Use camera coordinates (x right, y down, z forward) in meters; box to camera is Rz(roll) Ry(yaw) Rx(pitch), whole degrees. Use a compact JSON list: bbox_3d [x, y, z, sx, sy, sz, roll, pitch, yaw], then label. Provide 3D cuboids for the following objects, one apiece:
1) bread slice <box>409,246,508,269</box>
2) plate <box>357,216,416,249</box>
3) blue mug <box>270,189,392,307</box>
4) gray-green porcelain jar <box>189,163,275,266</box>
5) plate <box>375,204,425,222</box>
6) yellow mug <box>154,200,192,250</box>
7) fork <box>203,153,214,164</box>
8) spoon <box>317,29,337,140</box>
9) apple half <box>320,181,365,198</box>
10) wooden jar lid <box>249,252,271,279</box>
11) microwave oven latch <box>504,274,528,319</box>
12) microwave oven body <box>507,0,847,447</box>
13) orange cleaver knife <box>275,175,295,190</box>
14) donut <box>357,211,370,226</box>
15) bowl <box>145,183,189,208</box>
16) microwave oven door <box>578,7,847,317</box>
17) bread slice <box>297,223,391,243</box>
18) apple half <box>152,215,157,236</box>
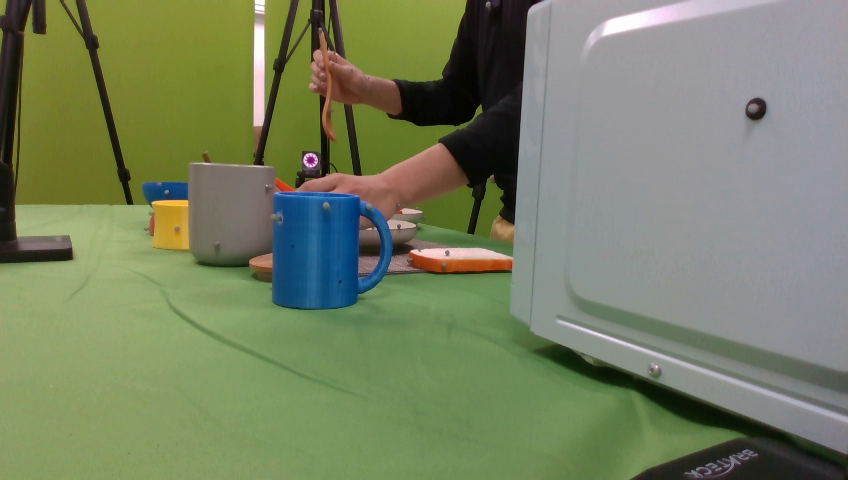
[{"bbox_3d":[0.047,0.022,0.816,0.132,0.019,0.104,0,7,-24],"label":"bread slice"},{"bbox_3d":[-0.116,-0.014,0.967,0.208,0.039,0.207,2,7,0],"label":"plate"},{"bbox_3d":[-0.090,0.005,0.588,0.117,0.106,0.082,1,7,-11],"label":"blue mug"},{"bbox_3d":[-0.246,-0.035,0.780,0.106,0.126,0.106,2,7,0],"label":"gray-green porcelain jar"},{"bbox_3d":[-0.102,-0.053,1.299,0.209,0.038,0.209,2,8,0],"label":"plate"},{"bbox_3d":[-0.337,-0.023,0.899,0.130,0.064,0.100,8,9,34],"label":"yellow mug"},{"bbox_3d":[-0.480,-0.134,1.411,0.028,0.018,0.207,1,-35,0],"label":"fork"},{"bbox_3d":[-0.168,-0.269,1.049,0.021,0.193,0.042,-4,-1,10],"label":"spoon"},{"bbox_3d":[-0.130,-0.077,0.952,0.081,0.033,0.081,4,14,-1],"label":"apple half"},{"bbox_3d":[-0.148,0.028,0.708,0.108,0.020,0.108,0,10,0],"label":"wooden jar lid"},{"bbox_3d":[0.100,0.041,0.470,0.079,0.029,0.030,-1,7,-27],"label":"microwave oven latch"},{"bbox_3d":[0.331,-0.042,0.425,0.444,0.260,0.324,-2,8,-31],"label":"microwave oven body"},{"bbox_3d":[-0.283,-0.087,1.343,0.212,0.077,0.012,24,-16,-41],"label":"orange cleaver knife"},{"bbox_3d":[-0.132,-0.042,0.959,0.099,0.048,0.099,2,7,0],"label":"donut"},{"bbox_3d":[-0.459,-0.069,1.175,0.151,0.077,0.151,3,7,0],"label":"bowl"},{"bbox_3d":[0.294,-0.067,0.570,0.358,0.243,0.039,-3,9,-31],"label":"microwave oven door"},{"bbox_3d":[-0.121,-0.013,0.971,0.106,0.018,0.135,9,11,42],"label":"bread slice"},{"bbox_3d":[-0.415,-0.034,1.017,0.081,0.053,0.074,1,10,-9],"label":"apple half"}]
